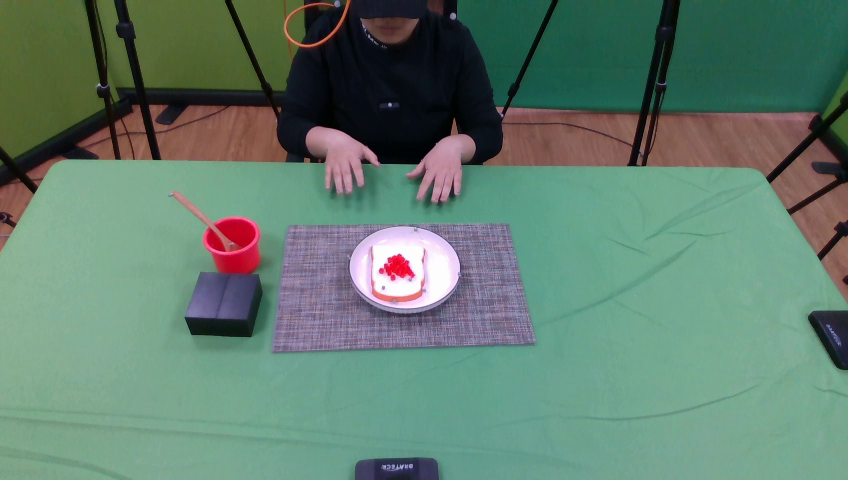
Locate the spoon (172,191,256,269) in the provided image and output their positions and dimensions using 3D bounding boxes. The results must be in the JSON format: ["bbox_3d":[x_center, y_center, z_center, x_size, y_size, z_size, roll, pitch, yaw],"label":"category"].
[{"bbox_3d":[-0.382,-0.019,1.104,0.194,0.021,0.041,50,48,-17],"label":"spoon"}]

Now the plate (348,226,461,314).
[{"bbox_3d":[-0.035,0.058,1.123,0.209,0.038,0.208,2,46,-2],"label":"plate"}]

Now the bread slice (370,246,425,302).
[{"bbox_3d":[-0.048,0.060,1.123,0.105,0.019,0.130,0,46,-3],"label":"bread slice"}]
